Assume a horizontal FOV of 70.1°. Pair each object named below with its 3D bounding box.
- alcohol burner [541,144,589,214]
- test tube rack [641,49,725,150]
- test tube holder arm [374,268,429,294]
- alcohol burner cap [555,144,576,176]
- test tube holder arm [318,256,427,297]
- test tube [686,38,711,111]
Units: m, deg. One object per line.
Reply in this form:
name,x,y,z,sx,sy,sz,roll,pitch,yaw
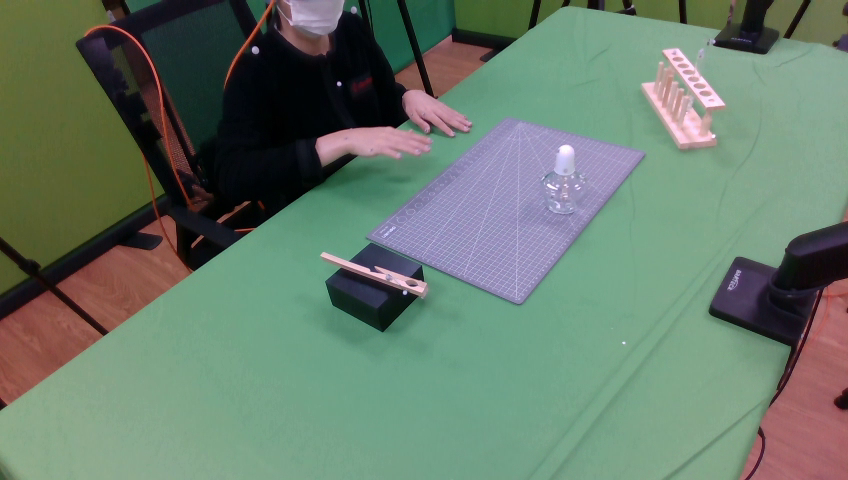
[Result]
alcohol burner,0.229,-0.102,0.983,0.078,0.119,0.077,-6,41,5
test tube rack,0.495,-0.279,1.175,0.067,0.085,0.241,-5,41,3
test tube holder arm,-0.034,0.056,0.840,0.087,0.015,0.010,14,50,25
alcohol burner cap,0.225,-0.128,0.958,0.034,0.048,0.033,-4,43,5
test tube holder arm,-0.076,0.050,0.855,0.177,0.015,0.013,13,49,24
test tube,0.508,-0.305,1.128,0.017,0.151,0.017,-2,46,3
